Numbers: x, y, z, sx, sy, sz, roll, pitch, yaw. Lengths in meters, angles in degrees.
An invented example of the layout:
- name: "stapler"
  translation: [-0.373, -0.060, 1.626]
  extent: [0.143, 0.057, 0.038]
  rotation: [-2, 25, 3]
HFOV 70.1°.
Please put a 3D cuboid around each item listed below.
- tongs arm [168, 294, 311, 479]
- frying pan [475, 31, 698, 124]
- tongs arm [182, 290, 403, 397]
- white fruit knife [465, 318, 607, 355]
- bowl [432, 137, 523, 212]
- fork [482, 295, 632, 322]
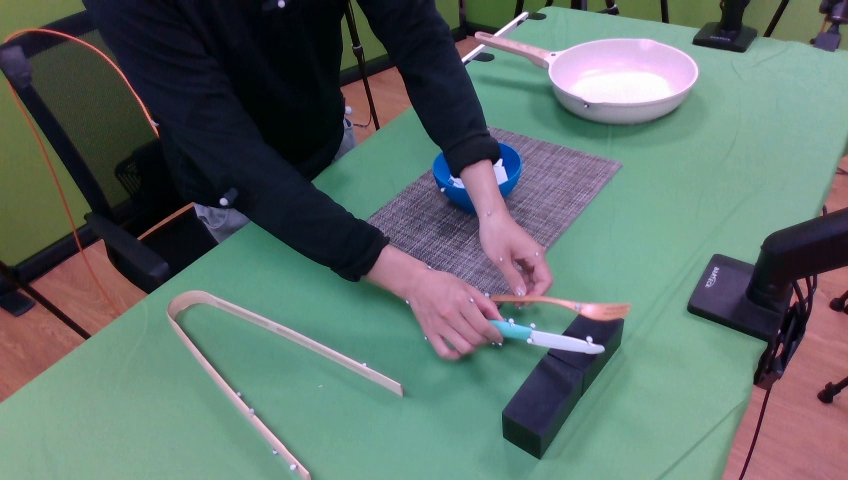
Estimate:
- name: "tongs arm"
  translation: [-0.244, 0.177, 0.787]
  extent: [0.381, 0.026, 0.051]
  rotation: [29, 51, 36]
- name: "frying pan"
  translation: [0.320, -0.371, 1.290]
  extent: [0.485, 0.103, 0.307]
  rotation: [28, 50, 23]
- name: "tongs arm"
  translation: [-0.191, 0.136, 0.835]
  extent: [0.385, 0.028, 0.028]
  rotation: [18, 48, 26]
- name: "white fruit knife"
  translation: [0.127, 0.116, 0.730]
  extent: [0.205, 0.027, 0.016]
  rotation: [3, 33, 45]
- name: "bowl"
  translation: [0.091, -0.100, 1.021]
  extent: [0.151, 0.077, 0.150]
  rotation: [-4, 41, 4]
- name: "fork"
  translation: [0.160, 0.082, 0.763]
  extent: [0.205, 0.019, 0.028]
  rotation: [5, 36, 38]
